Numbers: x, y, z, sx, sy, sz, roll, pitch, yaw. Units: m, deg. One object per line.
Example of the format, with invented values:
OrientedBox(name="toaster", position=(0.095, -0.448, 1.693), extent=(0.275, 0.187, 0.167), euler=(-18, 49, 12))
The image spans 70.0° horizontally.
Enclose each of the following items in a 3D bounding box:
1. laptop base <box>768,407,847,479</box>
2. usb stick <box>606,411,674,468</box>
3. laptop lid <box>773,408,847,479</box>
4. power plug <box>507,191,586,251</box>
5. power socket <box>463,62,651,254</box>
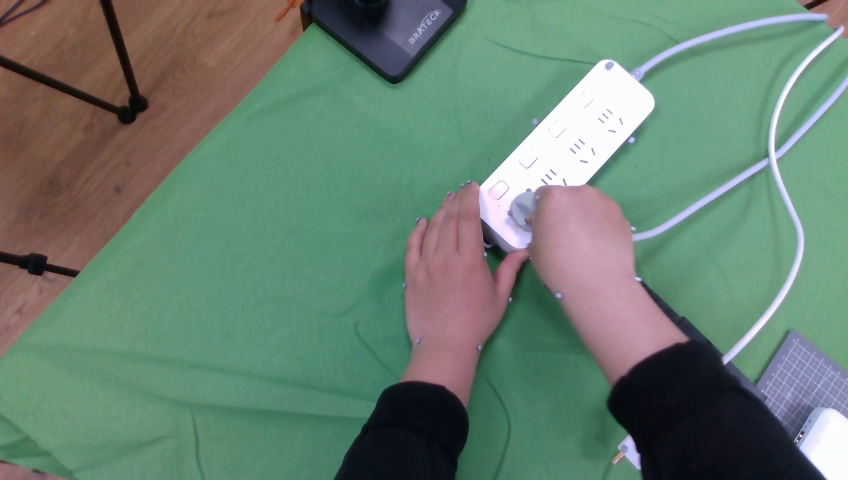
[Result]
OrientedBox(name="laptop base", position=(0.429, 0.349, 0.540), extent=(0.354, 0.023, 0.235), euler=(39, 81, 1))
OrientedBox(name="usb stick", position=(0.184, 0.176, 0.521), extent=(0.059, 0.022, 0.027), euler=(-47, 61, 14))
OrientedBox(name="laptop lid", position=(0.428, 0.348, 0.528), extent=(0.356, 0.013, 0.241), euler=(41, 80, 2))
OrientedBox(name="power plug", position=(0.102, -0.010, 0.538), extent=(0.035, 0.052, 0.072), euler=(-34, 90, -15))
OrientedBox(name="power socket", position=(0.128, -0.080, 0.577), extent=(0.072, 0.032, 0.226), euler=(44, 78, 1))
